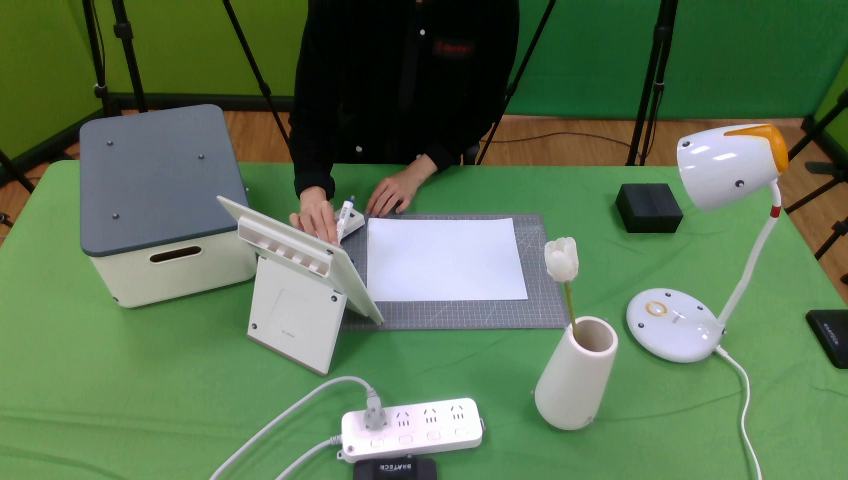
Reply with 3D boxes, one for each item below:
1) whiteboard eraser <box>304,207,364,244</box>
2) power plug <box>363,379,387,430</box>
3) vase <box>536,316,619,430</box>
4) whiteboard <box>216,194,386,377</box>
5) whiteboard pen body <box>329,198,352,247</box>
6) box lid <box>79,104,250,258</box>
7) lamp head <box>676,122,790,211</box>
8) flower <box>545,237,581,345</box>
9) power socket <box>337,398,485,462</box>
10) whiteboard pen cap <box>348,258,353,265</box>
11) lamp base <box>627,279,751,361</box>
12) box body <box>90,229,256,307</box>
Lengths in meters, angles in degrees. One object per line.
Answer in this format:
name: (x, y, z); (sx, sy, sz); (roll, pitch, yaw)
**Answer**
whiteboard eraser: (-0.175, -0.022, 1.188); (0.055, 0.042, 0.112); (36, 53, 26)
power plug: (-0.071, 0.252, 0.911); (0.035, 0.053, 0.072); (3, 40, 0)
vase: (0.229, 0.200, 0.901); (0.098, 0.201, 0.097); (3, 46, -3)
whiteboard: (-0.212, 0.093, 0.939); (0.216, 0.307, 0.143); (24, 70, 17)
whiteboard pen body: (-0.146, -0.006, 1.008); (0.017, 0.017, 0.140); (14, 73, 9)
box lid: (-0.467, -0.120, 1.075); (0.264, 0.015, 0.369); (-13, 49, -17)
lamp head: (0.423, -0.104, 0.819); (0.122, 0.113, 0.112); (-13, 33, 40)
flower: (0.213, 0.137, 0.846); (0.038, 0.364, 0.044); (22, 55, 40)
power socket: (-0.018, 0.285, 0.914); (0.227, 0.033, 0.071); (-4, 46, -8)
whiteboard pen cap: (-0.152, 0.041, 1.146); (0.033, 0.018, 0.018); (11, 47, 11)
lamp base: (0.460, 0.100, 1.027); (0.178, 0.181, 0.160); (27, 51, 17)
box body: (-0.471, -0.070, 1.131); (0.254, 0.161, 0.361); (-14, 49, -17)
